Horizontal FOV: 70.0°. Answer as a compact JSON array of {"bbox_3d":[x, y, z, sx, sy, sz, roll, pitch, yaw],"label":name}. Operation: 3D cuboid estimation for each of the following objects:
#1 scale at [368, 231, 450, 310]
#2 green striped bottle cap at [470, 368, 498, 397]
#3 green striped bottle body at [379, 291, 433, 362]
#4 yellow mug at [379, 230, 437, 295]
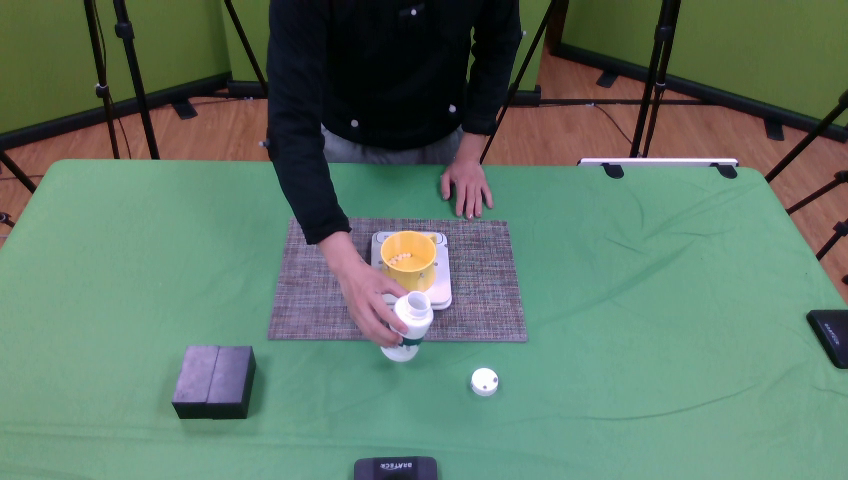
[{"bbox_3d":[-0.029,0.049,1.136,0.149,0.032,0.199,1,46,-4],"label":"scale"},{"bbox_3d":[0.098,0.232,0.989,0.044,0.020,0.044,2,42,-2],"label":"green striped bottle cap"},{"bbox_3d":[-0.026,0.132,0.942,0.063,0.119,0.063,14,42,-12],"label":"green striped bottle body"},{"bbox_3d":[-0.020,0.031,1.089,0.099,0.064,0.130,31,51,24],"label":"yellow mug"}]
